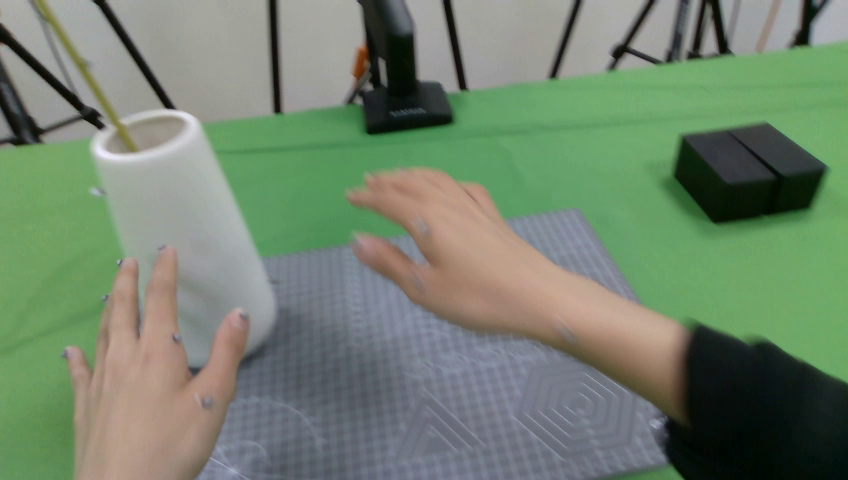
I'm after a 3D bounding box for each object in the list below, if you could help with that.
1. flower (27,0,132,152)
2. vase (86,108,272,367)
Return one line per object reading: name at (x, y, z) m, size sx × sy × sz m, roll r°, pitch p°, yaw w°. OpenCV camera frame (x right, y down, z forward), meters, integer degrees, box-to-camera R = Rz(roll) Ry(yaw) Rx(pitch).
flower at (-0.204, -0.063, 0.418) m, size 0.044 × 0.365 × 0.038 m, roll -36°, pitch 32°, yaw -25°
vase at (-0.181, 0.004, 0.465) m, size 0.098 × 0.202 × 0.097 m, roll -2°, pitch 38°, yaw 2°
